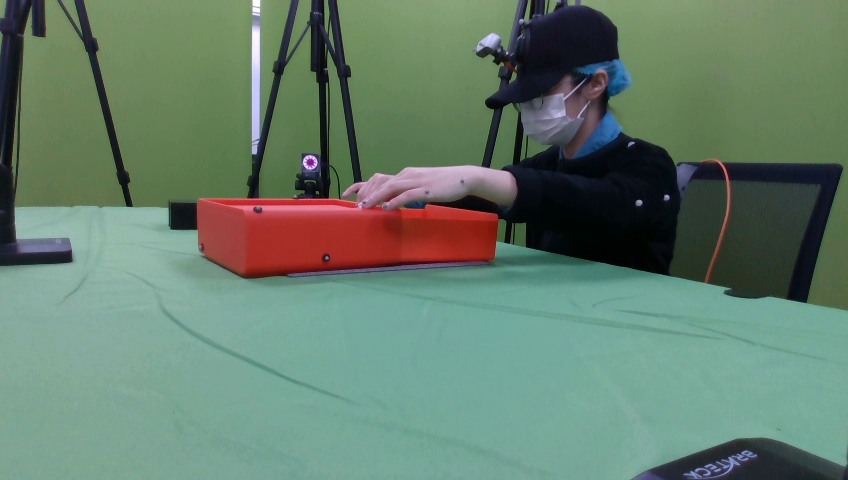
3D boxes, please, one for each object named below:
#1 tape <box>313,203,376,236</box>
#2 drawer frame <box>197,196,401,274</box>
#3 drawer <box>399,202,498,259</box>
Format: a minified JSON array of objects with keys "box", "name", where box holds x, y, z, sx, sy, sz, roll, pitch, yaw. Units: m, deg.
[{"box":[-0.145,-0.040,1.117,0.117,0.052,0.117,4,6,0],"name":"tape"},{"box":[-0.171,-0.015,0.819,0.215,0.082,0.200,-4,10,-35],"name":"drawer frame"},{"box":[-0.029,-0.018,0.917,0.213,0.073,0.193,-2,9,-34],"name":"drawer"}]
